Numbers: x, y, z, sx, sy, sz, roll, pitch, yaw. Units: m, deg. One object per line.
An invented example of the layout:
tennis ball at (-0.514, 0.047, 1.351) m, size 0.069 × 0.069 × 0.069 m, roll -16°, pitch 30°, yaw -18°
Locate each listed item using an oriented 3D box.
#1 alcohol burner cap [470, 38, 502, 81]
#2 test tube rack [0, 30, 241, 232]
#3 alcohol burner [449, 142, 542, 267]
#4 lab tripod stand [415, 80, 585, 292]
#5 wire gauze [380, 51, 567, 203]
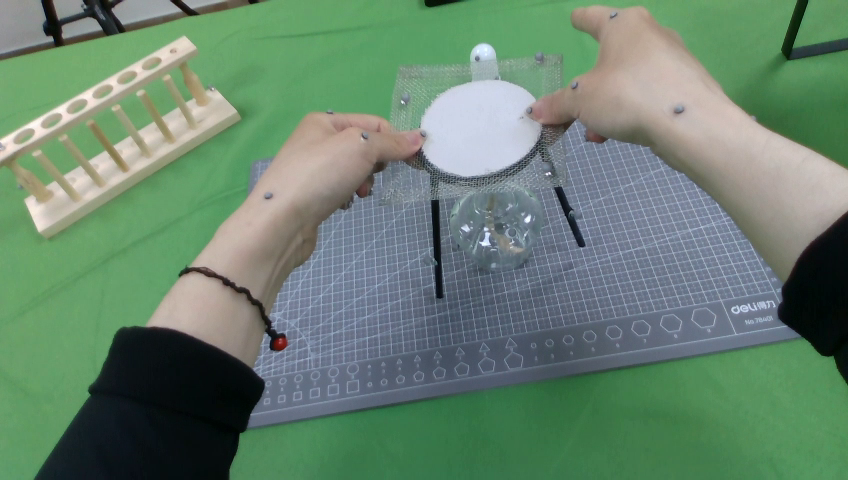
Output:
alcohol burner cap at (0.065, -0.194, 0.651) m, size 0.034 × 0.048 × 0.033 m, roll -6°, pitch 55°, yaw 9°
test tube rack at (-0.332, -0.120, 0.655) m, size 0.242 × 0.086 × 0.066 m, roll -36°, pitch 56°, yaw -14°
alcohol burner at (0.056, -0.032, 0.487) m, size 0.078 × 0.120 × 0.077 m, roll -7°, pitch 52°, yaw 9°
lab tripod stand at (0.049, -0.040, 0.465) m, size 0.148 × 0.133 × 0.147 m, roll -6°, pitch 58°, yaw 10°
wire gauze at (0.034, -0.082, 0.413) m, size 0.121 × 0.011 × 0.124 m, roll -2°, pitch 61°, yaw 12°
